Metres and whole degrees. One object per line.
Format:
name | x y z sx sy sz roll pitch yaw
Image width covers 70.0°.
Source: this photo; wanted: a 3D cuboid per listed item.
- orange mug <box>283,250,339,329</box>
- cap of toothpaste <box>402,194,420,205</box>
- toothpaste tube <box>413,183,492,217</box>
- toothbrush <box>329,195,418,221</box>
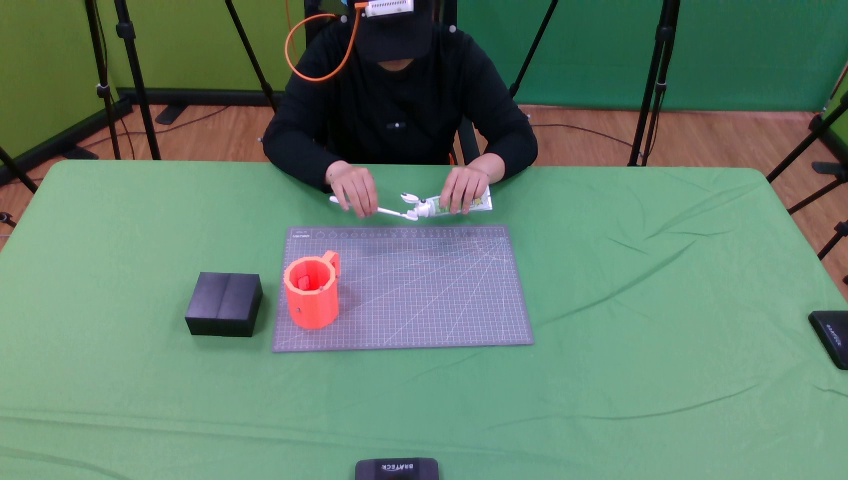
orange mug | -0.186 0.079 1.052 0.083 0.101 0.126 20 52 15
cap of toothpaste | -0.026 -0.076 1.143 0.037 0.011 0.037 15 23 -6
toothpaste tube | 0.056 -0.074 1.183 0.165 0.055 0.034 -10 10 -20
toothbrush | -0.098 -0.064 1.170 0.181 0.017 0.014 13 50 11
